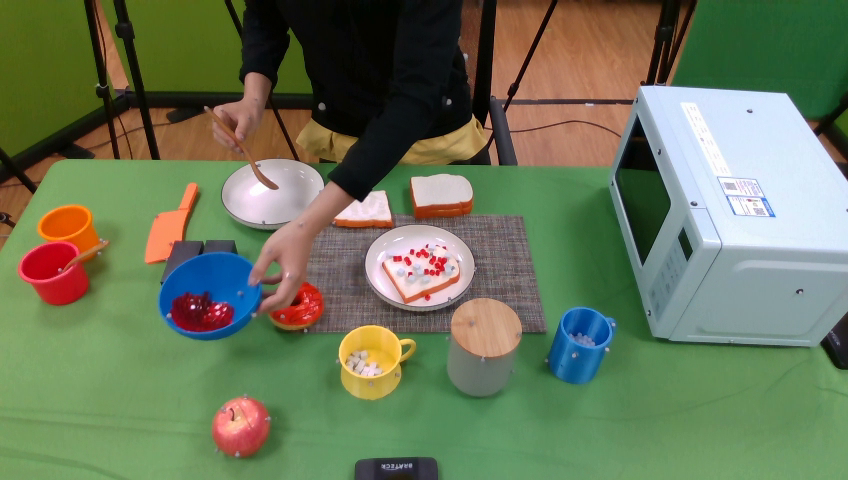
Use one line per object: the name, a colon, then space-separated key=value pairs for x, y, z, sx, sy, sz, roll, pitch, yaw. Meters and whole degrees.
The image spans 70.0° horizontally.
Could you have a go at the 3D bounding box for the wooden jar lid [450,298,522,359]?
wooden jar lid: x=0.093 y=0.135 z=0.914 sx=0.108 sy=0.021 sz=0.107 roll=3 pitch=48 yaw=-3

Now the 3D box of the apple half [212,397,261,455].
apple half: x=-0.276 y=0.277 z=0.877 sx=0.053 sy=0.075 sz=0.080 roll=-29 pitch=58 yaw=-21

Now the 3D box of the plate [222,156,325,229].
plate: x=-0.308 y=-0.094 z=1.251 sx=0.209 sy=0.038 sz=0.208 roll=2 pitch=47 yaw=-2

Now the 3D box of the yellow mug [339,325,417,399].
yellow mug: x=-0.072 y=0.190 z=0.978 sx=0.131 sy=0.064 sz=0.099 roll=-17 pitch=50 yaw=-20

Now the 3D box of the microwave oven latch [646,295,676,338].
microwave oven latch: x=0.413 y=0.133 z=1.060 sx=0.030 sy=0.029 sz=0.078 roll=4 pitch=46 yaw=1

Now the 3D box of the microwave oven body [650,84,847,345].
microwave oven body: x=0.569 y=-0.054 z=1.116 sx=0.326 sy=0.261 sz=0.439 roll=2 pitch=46 yaw=-1

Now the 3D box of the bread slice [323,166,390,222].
bread slice: x=-0.140 y=-0.092 z=1.224 sx=0.134 sy=0.018 sz=0.106 roll=-19 pitch=51 yaw=5

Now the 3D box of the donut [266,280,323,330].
donut: x=-0.223 y=0.113 z=1.051 sx=0.099 sy=0.048 sz=0.098 roll=2 pitch=45 yaw=-2

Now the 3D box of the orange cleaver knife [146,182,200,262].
orange cleaver knife: x=-0.494 y=-0.039 z=1.199 sx=0.077 sy=0.012 sz=0.210 roll=-3 pitch=48 yaw=2

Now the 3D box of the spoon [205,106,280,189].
spoon: x=-0.329 y=-0.166 z=1.102 sx=0.021 sy=0.195 sz=0.041 roll=-33 pitch=27 yaw=1

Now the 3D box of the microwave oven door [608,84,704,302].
microwave oven door: x=0.424 y=-0.096 z=1.138 sx=0.039 sy=0.245 sz=0.353 roll=3 pitch=46 yaw=-1

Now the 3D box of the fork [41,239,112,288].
fork: x=-0.591 y=0.040 z=1.028 sx=0.207 sy=0.019 sz=0.028 roll=-27 pitch=37 yaw=29

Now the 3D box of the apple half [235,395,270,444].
apple half: x=-0.245 y=0.259 z=0.893 sx=0.033 sy=0.082 sz=0.081 roll=-29 pitch=55 yaw=-22

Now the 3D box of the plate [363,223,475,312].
plate: x=-0.009 y=0.054 z=1.126 sx=0.208 sy=0.039 sz=0.206 roll=2 pitch=46 yaw=-2

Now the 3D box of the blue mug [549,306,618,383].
blue mug: x=0.269 y=0.167 z=0.997 sx=0.116 sy=0.106 sz=0.082 roll=-19 pitch=51 yaw=-21

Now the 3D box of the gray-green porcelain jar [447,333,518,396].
gray-green porcelain jar: x=0.091 y=0.178 z=0.960 sx=0.106 sy=0.127 sz=0.105 roll=2 pitch=47 yaw=-2

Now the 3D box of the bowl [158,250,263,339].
bowl: x=-0.321 y=0.097 z=0.943 sx=0.151 sy=0.077 sz=0.150 roll=1 pitch=51 yaw=-1

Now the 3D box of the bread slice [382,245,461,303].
bread slice: x=0.000 y=0.054 z=1.128 sx=0.131 sy=0.019 sz=0.104 roll=-21 pitch=51 yaw=-21
